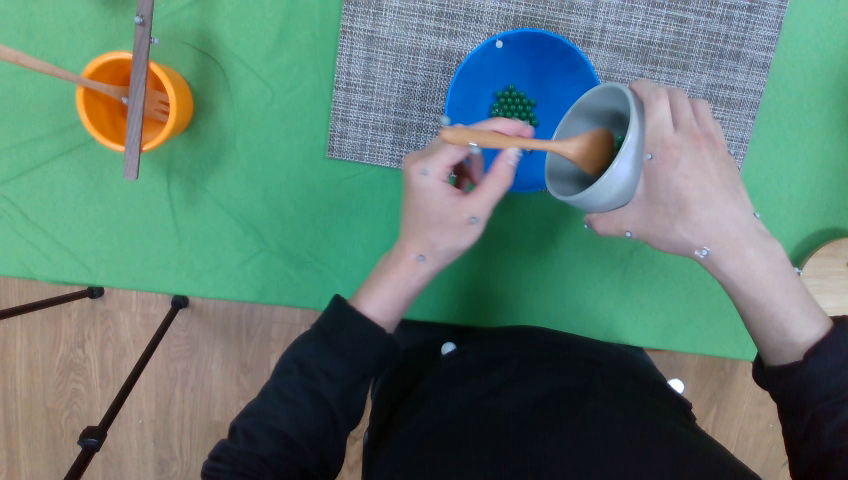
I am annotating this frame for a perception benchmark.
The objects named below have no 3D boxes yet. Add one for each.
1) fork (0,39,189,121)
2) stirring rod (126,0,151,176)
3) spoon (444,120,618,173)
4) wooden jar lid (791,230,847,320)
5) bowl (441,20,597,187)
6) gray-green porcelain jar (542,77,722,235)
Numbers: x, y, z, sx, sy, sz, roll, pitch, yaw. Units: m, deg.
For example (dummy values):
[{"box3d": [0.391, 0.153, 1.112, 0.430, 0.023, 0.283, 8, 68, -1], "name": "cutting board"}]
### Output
[{"box3d": [-0.312, -0.150, 0.545, 0.209, 0.018, 0.028, 14, 112, -51], "name": "fork"}, {"box3d": [-0.258, -0.145, 0.547, 0.014, 0.006, 0.177, 9, 105, -4], "name": "stirring rod"}, {"box3d": [0.092, -0.077, 0.476, 0.195, 0.021, 0.042, 0, 109, -33], "name": "spoon"}, {"box3d": [0.476, 0.040, 0.702, 0.108, 0.020, 0.109, -1, 106, -2], "name": "wooden jar lid"}, {"box3d": [0.090, -0.133, 0.602, 0.151, 0.076, 0.152, -1, 105, -2], "name": "bowl"}, {"box3d": [0.186, -0.068, 0.534, 0.127, 0.105, 0.106, 20, 104, -25], "name": "gray-green porcelain jar"}]
